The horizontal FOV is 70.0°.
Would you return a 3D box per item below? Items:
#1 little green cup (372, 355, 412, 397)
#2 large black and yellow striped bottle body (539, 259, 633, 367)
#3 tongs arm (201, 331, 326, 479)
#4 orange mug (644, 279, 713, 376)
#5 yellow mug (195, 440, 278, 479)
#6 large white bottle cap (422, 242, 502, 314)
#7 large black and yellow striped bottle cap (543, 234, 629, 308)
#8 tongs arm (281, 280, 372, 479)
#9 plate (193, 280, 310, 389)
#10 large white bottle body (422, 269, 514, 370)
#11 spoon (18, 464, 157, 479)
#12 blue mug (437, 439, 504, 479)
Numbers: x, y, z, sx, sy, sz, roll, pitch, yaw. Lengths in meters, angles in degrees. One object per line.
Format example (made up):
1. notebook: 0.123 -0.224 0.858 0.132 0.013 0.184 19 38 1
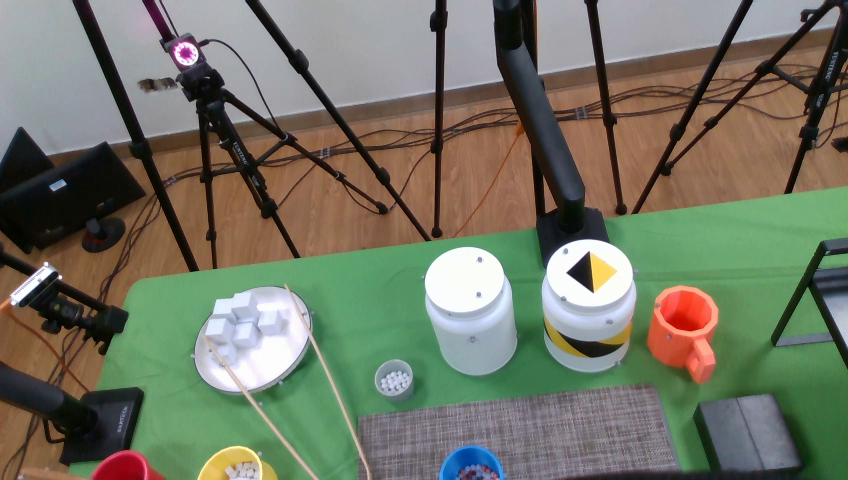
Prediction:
1. little green cup: -0.049 0.219 0.961 0.061 0.039 0.061 -6 52 8
2. large black and yellow striped bottle body: 0.239 0.093 0.902 0.130 0.186 0.129 -6 51 8
3. tongs arm: -0.230 0.259 0.945 0.051 0.027 0.381 -37 61 -20
4. orange mug: 0.382 0.133 0.895 0.083 0.102 0.125 -16 47 1
5. yellow mug: -0.283 0.364 0.882 0.099 0.064 0.130 26 63 28
6. large white bottle cap: 0.054 0.053 0.863 0.114 0.018 0.113 -6 52 8
7. large black and yellow striped bottle cap: 0.223 0.040 0.837 0.115 0.019 0.114 -5 53 7
8. tongs arm: -0.162 0.215 0.968 0.028 0.028 0.383 -22 58 -16
9. plate: -0.295 0.165 1.057 0.207 0.039 0.205 -6 52 8
10. large white bottle body: 0.069 0.104 0.930 0.130 0.186 0.129 -6 52 8
11. spoon: -0.484 0.351 0.886 0.195 0.021 0.041 25 53 -24
12. blue mug: 0.076 0.332 0.798 0.082 0.107 0.115 -39 55 -18
